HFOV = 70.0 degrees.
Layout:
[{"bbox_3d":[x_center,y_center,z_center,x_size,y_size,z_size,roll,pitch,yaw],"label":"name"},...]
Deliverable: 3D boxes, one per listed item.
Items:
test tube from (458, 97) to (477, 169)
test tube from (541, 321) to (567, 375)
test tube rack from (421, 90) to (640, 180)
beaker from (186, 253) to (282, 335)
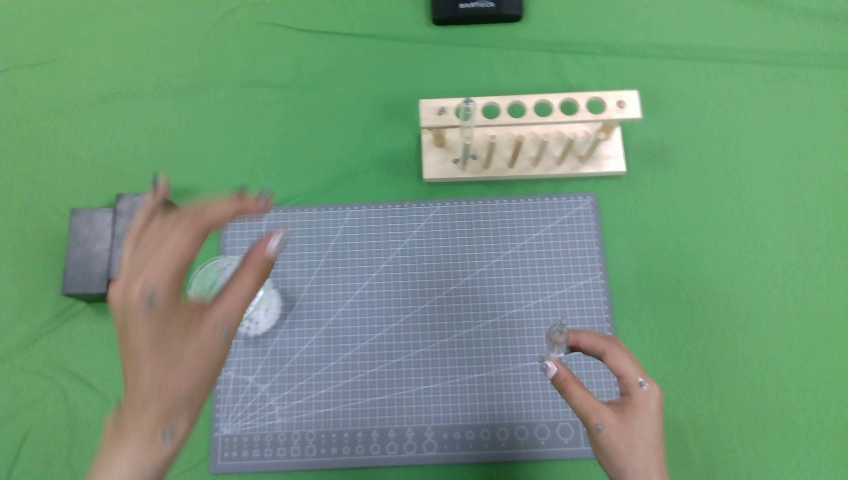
[{"bbox_3d":[0.047,-0.113,0.659,0.017,0.151,0.017,0,73,2],"label":"test tube"},{"bbox_3d":[0.108,0.094,0.509,0.017,0.152,0.017,-3,67,9],"label":"test tube"},{"bbox_3d":[0.119,-0.120,0.707,0.242,0.085,0.066,-2,74,0],"label":"test tube rack"},{"bbox_3d":[-0.195,0.061,0.649,0.084,0.101,0.073,-10,74,-3],"label":"beaker"}]
